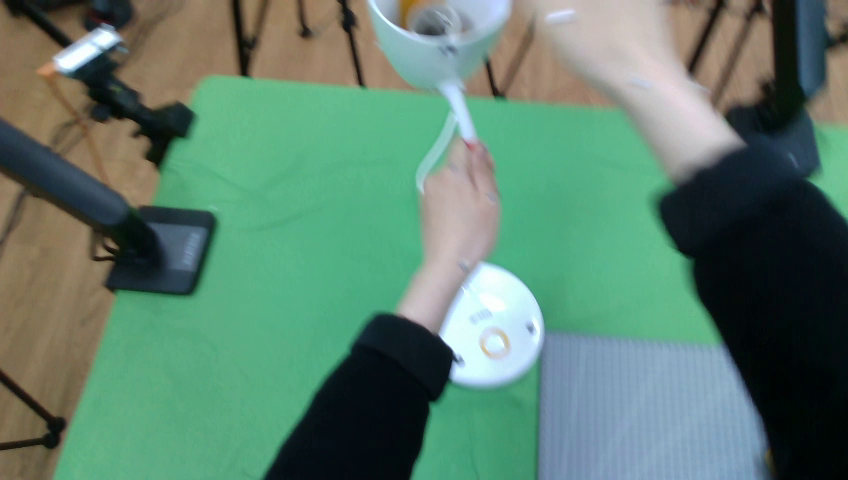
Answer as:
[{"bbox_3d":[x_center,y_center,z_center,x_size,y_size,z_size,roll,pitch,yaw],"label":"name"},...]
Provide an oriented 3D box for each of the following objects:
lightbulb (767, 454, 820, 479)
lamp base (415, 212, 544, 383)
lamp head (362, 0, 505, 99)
[{"bbox_3d":[0.417,0.275,0.650,0.059,0.060,0.106,-30,52,-13],"label":"lightbulb"},{"bbox_3d":[0.060,0.056,0.687,0.160,0.181,0.177,-34,66,-15],"label":"lamp base"},{"bbox_3d":[0.007,-0.176,0.479,0.112,0.123,0.111,0,70,0],"label":"lamp head"}]
